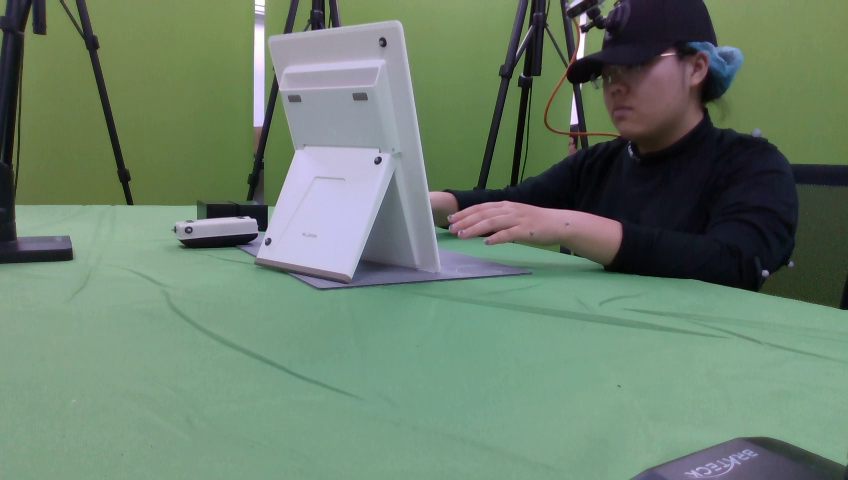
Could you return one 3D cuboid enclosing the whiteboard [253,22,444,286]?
[{"bbox_3d":[-0.125,-0.081,0.715,0.216,0.305,0.144,9,29,36],"label":"whiteboard"}]

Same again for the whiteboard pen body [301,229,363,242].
[{"bbox_3d":[-0.153,-0.007,1.017,0.017,0.017,0.141,8,9,36],"label":"whiteboard pen body"}]

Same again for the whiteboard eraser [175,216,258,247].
[{"bbox_3d":[-0.313,-0.013,0.915,0.113,0.042,0.055,-5,12,-30],"label":"whiteboard eraser"}]

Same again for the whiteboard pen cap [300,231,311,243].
[{"bbox_3d":[-0.189,-0.004,0.965,0.018,0.018,0.033,2,9,-9],"label":"whiteboard pen cap"}]
